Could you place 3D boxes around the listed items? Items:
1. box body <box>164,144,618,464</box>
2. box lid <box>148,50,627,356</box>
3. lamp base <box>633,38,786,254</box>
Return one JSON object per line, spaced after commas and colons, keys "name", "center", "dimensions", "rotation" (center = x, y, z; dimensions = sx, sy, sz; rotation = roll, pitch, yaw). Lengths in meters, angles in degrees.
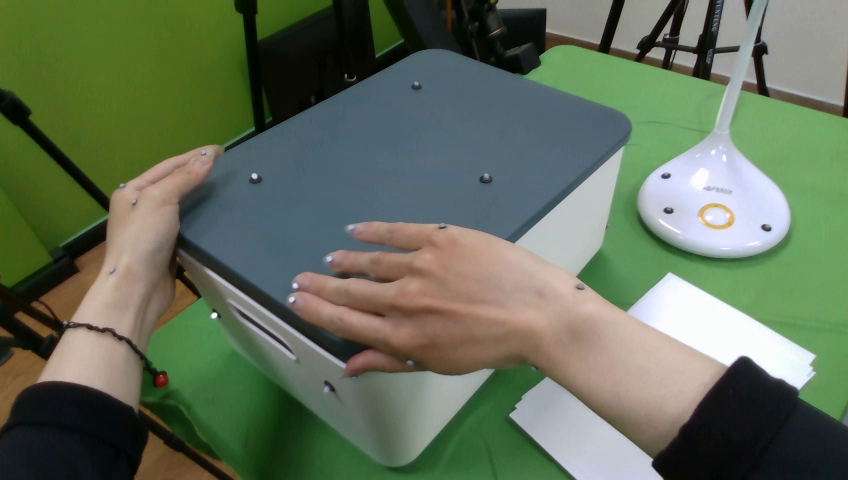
{"name": "box body", "center": [-0.010, -0.003, 0.588], "dimensions": [0.252, 0.162, 0.363], "rotation": [27, 53, 31]}
{"name": "box lid", "center": [-0.018, -0.069, 0.526], "dimensions": [0.261, 0.015, 0.371], "rotation": [28, 50, 30]}
{"name": "lamp base", "center": [0.314, -0.106, 0.642], "dimensions": [0.160, 0.182, 0.178], "rotation": [3, 41, 11]}
